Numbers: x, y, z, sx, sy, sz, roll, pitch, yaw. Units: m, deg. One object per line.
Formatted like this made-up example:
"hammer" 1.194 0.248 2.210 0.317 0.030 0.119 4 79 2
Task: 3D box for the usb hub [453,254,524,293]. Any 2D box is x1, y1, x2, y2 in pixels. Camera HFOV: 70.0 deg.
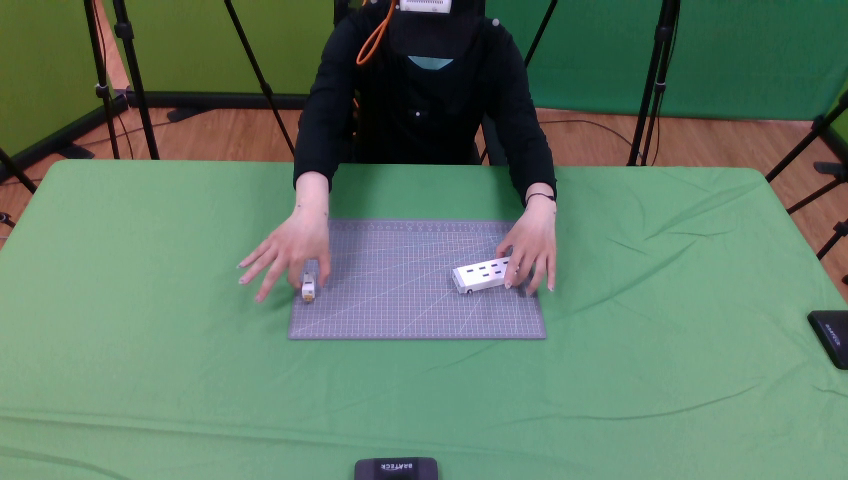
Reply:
"usb hub" 0.121 0.063 1.135 0.125 0.025 0.049 -12 49 -14

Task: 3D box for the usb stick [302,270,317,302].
"usb stick" -0.207 0.084 1.092 0.021 0.027 0.059 0 49 -2
